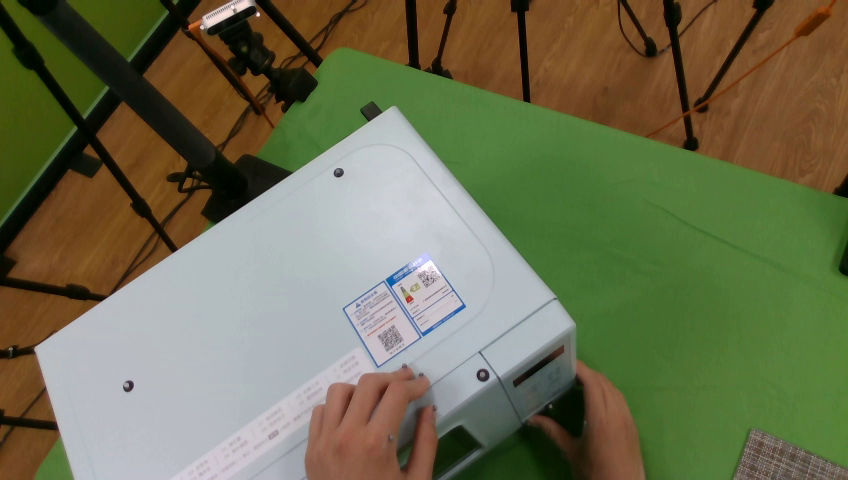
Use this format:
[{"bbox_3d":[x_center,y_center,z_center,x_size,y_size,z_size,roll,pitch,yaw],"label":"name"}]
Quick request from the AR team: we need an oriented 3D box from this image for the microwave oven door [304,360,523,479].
[{"bbox_3d":[-0.067,0.250,0.584,0.356,0.246,0.039,-35,61,-4],"label":"microwave oven door"}]

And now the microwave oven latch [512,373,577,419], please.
[{"bbox_3d":[0.136,0.169,0.688,0.079,0.030,0.030,-34,62,-2],"label":"microwave oven latch"}]

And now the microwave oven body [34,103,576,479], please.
[{"bbox_3d":[-0.109,0.126,0.659,0.442,0.262,0.323,-35,63,-3],"label":"microwave oven body"}]
